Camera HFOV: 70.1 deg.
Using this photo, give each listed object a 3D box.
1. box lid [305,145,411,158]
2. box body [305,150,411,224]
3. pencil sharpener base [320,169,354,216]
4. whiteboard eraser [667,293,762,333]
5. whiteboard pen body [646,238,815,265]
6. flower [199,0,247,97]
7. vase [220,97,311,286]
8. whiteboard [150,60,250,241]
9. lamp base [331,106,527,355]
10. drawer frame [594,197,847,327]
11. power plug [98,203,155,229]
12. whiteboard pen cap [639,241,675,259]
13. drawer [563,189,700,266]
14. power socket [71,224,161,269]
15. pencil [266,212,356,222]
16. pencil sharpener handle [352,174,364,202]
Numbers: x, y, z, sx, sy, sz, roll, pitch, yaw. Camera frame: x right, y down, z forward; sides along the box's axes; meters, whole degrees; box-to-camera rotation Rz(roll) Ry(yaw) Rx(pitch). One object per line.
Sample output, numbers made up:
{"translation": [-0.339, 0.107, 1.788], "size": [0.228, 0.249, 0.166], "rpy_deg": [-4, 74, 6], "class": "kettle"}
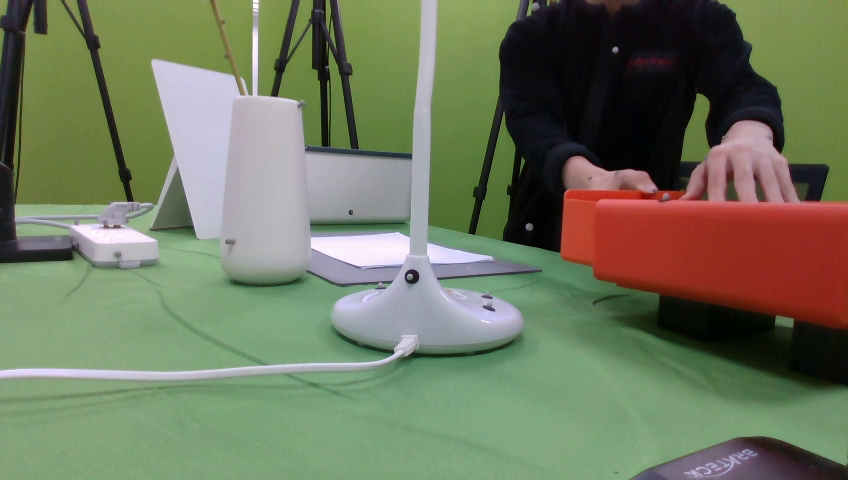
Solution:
{"translation": [-0.228, -0.200, 1.362], "size": [0.373, 0.015, 0.262], "rpy_deg": [-1, 8, -33], "class": "box lid"}
{"translation": [-0.230, -0.126, 1.372], "size": [0.366, 0.160, 0.253], "rpy_deg": [-2, 8, -33], "class": "box body"}
{"translation": [-0.207, -0.113, 1.438], "size": [0.077, 0.107, 0.061], "rpy_deg": [2, 6, -11], "class": "pencil sharpener base"}
{"translation": [0.228, 0.034, 0.515], "size": [0.056, 0.042, 0.112], "rpy_deg": [8, 29, -51], "class": "whiteboard eraser"}
{"translation": [0.280, 0.009, 0.560], "size": [0.140, 0.017, 0.017], "rpy_deg": [5, 8, 25], "class": "whiteboard pen body"}
{"translation": [-0.187, -0.133, 0.648], "size": [0.038, 0.362, 0.044], "rpy_deg": [-1, 21, 42], "class": "flower"}
{"translation": [-0.172, -0.052, 0.662], "size": [0.098, 0.200, 0.098], "rpy_deg": [3, 8, 0], "class": "vase"}
{"translation": [-0.408, -0.139, 1.093], "size": [0.143, 0.305, 0.218], "rpy_deg": [-15, -1, 26], "class": "whiteboard"}
{"translation": [0.006, -0.012, 0.478], "size": [0.161, 0.180, 0.179], "rpy_deg": [2, 10, 2], "class": "lamp base"}
{"translation": [0.289, 0.005, 0.501], "size": [0.203, 0.082, 0.212], "rpy_deg": [-1, 5, -29], "class": "drawer frame"}
{"translation": [-0.416, -0.026, 0.848], "size": [0.073, 0.052, 0.035], "rpy_deg": [1, 7, -28], "class": "power plug"}
{"translation": [0.227, 0.010, 0.589], "size": [0.033, 0.018, 0.018], "rpy_deg": [2, 7, 25], "class": "whiteboard pen cap"}
{"translation": [0.266, -0.004, 0.540], "size": [0.195, 0.073, 0.210], "rpy_deg": [-1, 7, -29], "class": "drawer"}
{"translation": [-0.408, 0.004, 0.793], "size": [0.072, 0.032, 0.225], "rpy_deg": [-2, 8, -38], "class": "power socket"}
{"translation": [-0.244, -0.049, 1.319], "size": [0.195, 0.012, 0.012], "rpy_deg": [4, 7, -12], "class": "pencil"}
{"translation": [-0.157, -0.125, 1.450], "size": [0.031, 0.068, 0.036], "rpy_deg": [2, 19, -11], "class": "pencil sharpener handle"}
